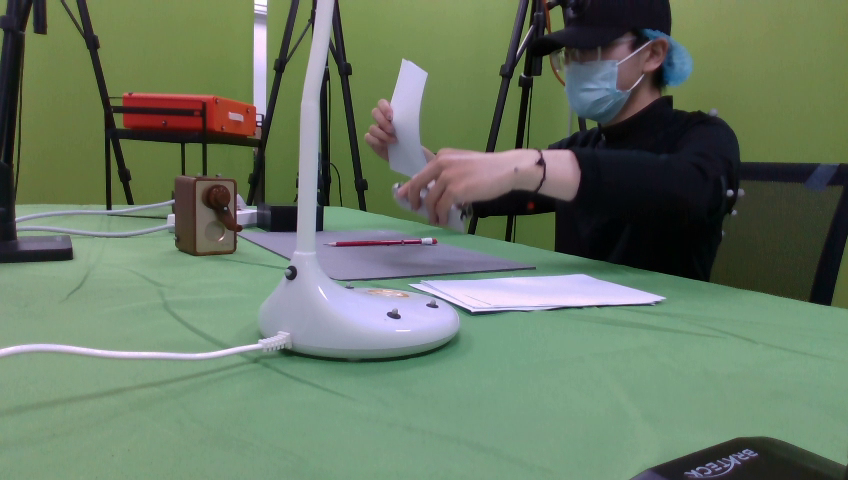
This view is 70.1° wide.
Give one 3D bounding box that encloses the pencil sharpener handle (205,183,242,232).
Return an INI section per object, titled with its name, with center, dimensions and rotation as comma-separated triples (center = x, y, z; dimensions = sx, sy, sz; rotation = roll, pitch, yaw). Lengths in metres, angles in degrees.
[pencil sharpener handle]
center = -0.265, -0.043, 0.812
dimensions = 0.036, 0.068, 0.030
rotation = -32, 28, -35

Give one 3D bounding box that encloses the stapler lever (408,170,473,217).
[stapler lever]
center = 0.026, -0.067, 0.853
dimensions = 0.117, 0.027, 0.040
rotation = 25, 60, 37

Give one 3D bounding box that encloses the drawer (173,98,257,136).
[drawer]
center = -0.518, -0.279, 1.376
dimensions = 0.211, 0.073, 0.195
rotation = 3, 8, 9

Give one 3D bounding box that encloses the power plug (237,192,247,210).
[power plug]
center = -0.386, -0.071, 1.204
dimensions = 0.072, 0.052, 0.035
rotation = 7, 9, 26

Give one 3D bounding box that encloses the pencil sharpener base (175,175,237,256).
[pencil sharpener base]
center = -0.304, -0.036, 0.847
dimensions = 0.062, 0.107, 0.076
rotation = -4, 10, -42

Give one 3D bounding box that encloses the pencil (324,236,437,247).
[pencil]
center = -0.067, 0.003, 0.980
dimensions = 0.195, 0.012, 0.012
rotation = -3, 9, -25

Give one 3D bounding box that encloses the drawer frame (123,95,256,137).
[drawer frame]
center = -0.524, -0.281, 1.376
dimensions = 0.213, 0.082, 0.202
rotation = 3, 8, 8

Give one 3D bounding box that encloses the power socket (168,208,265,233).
[power socket]
center = -0.381, -0.038, 1.129
dimensions = 0.072, 0.032, 0.227
rotation = 4, 8, 17

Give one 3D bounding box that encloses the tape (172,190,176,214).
[tape]
center = -0.515, -0.087, 1.388
dimensions = 0.117, 0.052, 0.117
rotation = 3, 7, 0

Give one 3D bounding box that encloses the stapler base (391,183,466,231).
[stapler base]
center = 0.010, -0.053, 0.843
dimensions = 0.130, 0.041, 0.024
rotation = 26, 60, 37

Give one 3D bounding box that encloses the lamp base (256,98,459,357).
[lamp base]
center = -0.055, -0.013, 0.463
dimensions = 0.160, 0.180, 0.180
rotation = 6, 11, 27
